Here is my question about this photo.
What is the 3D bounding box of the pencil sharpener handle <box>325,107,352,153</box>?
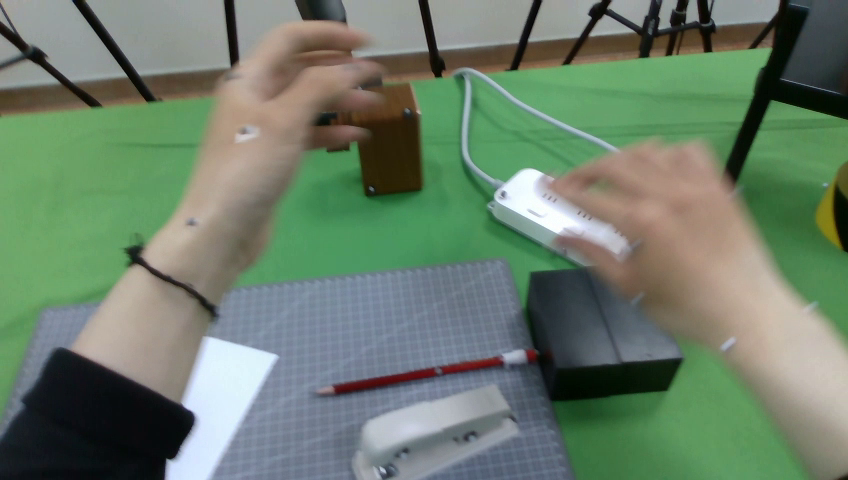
[{"bbox_3d":[-0.094,-0.114,0.652,0.031,0.068,0.035,-8,68,-5],"label":"pencil sharpener handle"}]

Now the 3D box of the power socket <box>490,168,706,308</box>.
[{"bbox_3d":[0.171,-0.008,0.612,0.225,0.033,0.072,31,54,28],"label":"power socket"}]

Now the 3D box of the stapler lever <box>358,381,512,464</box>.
[{"bbox_3d":[0.009,0.132,0.449,0.118,0.040,0.026,-18,49,-17],"label":"stapler lever"}]

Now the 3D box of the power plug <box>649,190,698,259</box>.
[{"bbox_3d":[0.245,-0.007,0.576,0.072,0.053,0.035,-32,53,-25],"label":"power plug"}]

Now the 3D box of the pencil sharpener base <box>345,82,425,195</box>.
[{"bbox_3d":[-0.042,-0.108,0.663,0.077,0.108,0.060,-8,47,-5],"label":"pencil sharpener base"}]

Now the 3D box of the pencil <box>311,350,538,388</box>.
[{"bbox_3d":[0.001,0.111,0.514,0.194,0.012,0.012,-7,46,-3],"label":"pencil"}]

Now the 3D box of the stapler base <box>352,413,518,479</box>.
[{"bbox_3d":[0.008,0.151,0.466,0.131,0.024,0.041,-18,49,-17],"label":"stapler base"}]

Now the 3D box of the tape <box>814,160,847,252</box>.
[{"bbox_3d":[0.468,-0.032,0.613,0.117,0.053,0.115,-1,47,1],"label":"tape"}]
